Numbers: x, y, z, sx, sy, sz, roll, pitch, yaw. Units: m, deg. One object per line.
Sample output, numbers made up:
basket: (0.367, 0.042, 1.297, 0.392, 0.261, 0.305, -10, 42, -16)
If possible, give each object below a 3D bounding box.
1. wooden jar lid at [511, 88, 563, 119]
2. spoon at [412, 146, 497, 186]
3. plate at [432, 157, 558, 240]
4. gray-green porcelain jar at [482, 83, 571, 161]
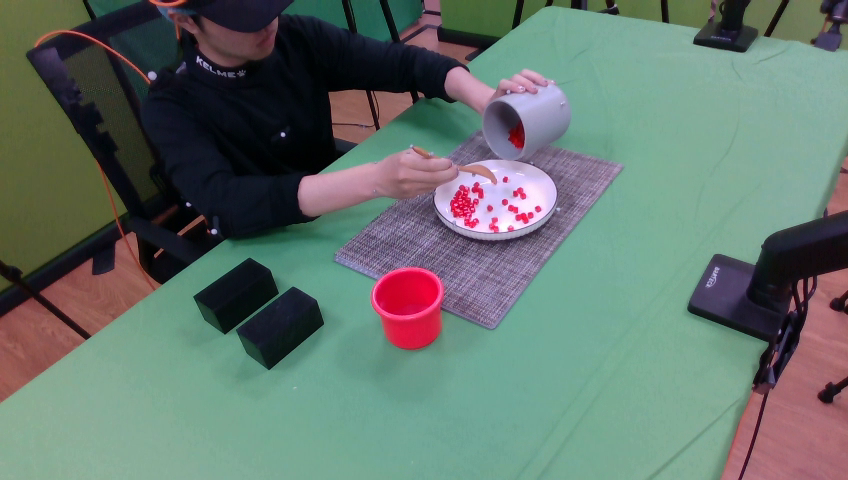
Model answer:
wooden jar lid: (0.237, -0.286, 1.271, 0.108, 0.021, 0.108, -5, 42, 5)
spoon: (0.052, -0.115, 0.949, 0.195, 0.021, 0.041, 9, 34, -43)
plate: (0.118, -0.066, 1.012, 0.207, 0.039, 0.206, -4, 41, 4)
gray-green porcelain jar: (0.179, -0.205, 1.030, 0.127, 0.106, 0.105, -28, 44, -31)
